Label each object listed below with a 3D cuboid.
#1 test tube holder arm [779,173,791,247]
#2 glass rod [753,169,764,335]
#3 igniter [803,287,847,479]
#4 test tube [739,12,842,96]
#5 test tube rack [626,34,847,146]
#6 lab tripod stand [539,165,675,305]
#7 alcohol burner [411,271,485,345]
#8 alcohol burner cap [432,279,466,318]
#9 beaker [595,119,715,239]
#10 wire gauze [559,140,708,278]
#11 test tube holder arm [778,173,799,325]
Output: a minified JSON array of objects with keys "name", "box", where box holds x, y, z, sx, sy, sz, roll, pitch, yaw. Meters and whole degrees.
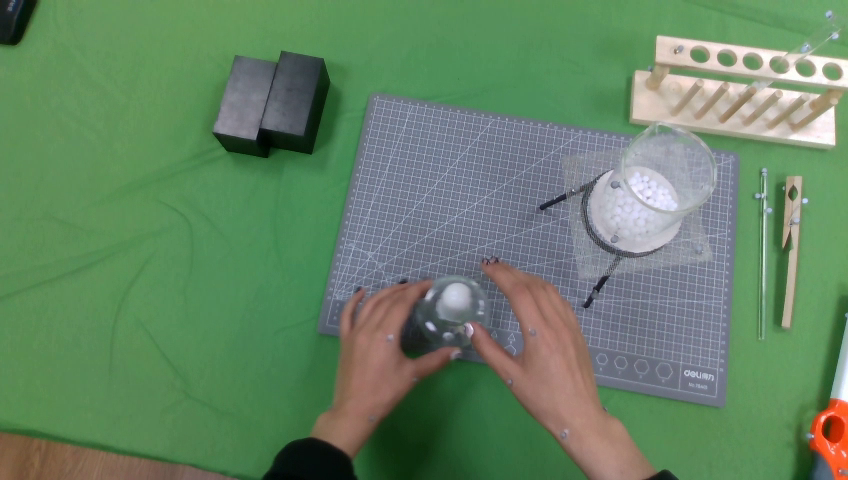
[{"name":"test tube holder arm","box":[0.420,-0.035,0.704,0.010,0.015,0.087,2,74,34]},{"name":"glass rod","box":[0.384,0.010,0.696,0.008,0.008,0.198,9,75,2]},{"name":"igniter","box":[0.440,0.179,0.644,0.057,0.025,0.275,23,76,-4]},{"name":"test tube","box":[0.392,-0.196,0.659,0.017,0.150,0.017,2,75,-6]},{"name":"test tube rack","box":[0.371,-0.171,0.703,0.242,0.085,0.066,8,75,2]},{"name":"lab tripod stand","box":[0.189,-0.014,0.634,0.148,0.132,0.147,0,76,2]},{"name":"alcohol burner","box":[0.026,0.066,0.622,0.078,0.120,0.077,0,73,0]},{"name":"alcohol burner cap","box":[0.026,0.054,0.588,0.034,0.048,0.033,2,67,-4]},{"name":"beaker","box":[0.192,-0.047,0.525,0.074,0.101,0.083,-5,75,1]},{"name":"wire gauze","box":[0.194,-0.032,0.570,0.121,0.011,0.124,-6,77,2]},{"name":"test tube holder arm","box":[0.416,0.008,0.691,0.013,0.015,0.177,2,74,34]}]
